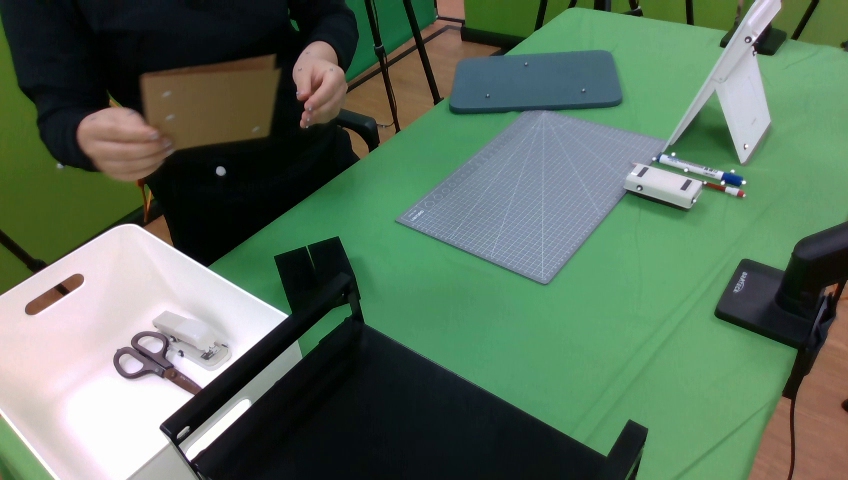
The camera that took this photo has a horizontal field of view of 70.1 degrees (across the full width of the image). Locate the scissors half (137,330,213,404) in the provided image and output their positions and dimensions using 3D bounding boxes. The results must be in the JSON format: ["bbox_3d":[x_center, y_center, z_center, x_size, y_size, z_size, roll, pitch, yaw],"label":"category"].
[{"bbox_3d":[-0.336,0.172,0.822,0.174,0.013,0.040,34,56,32],"label":"scissors half"}]

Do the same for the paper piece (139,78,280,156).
[{"bbox_3d":[-0.233,-0.130,0.669,0.137,0.138,0.008,1,64,-18],"label":"paper piece"}]

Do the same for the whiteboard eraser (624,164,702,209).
[{"bbox_3d":[0.396,-0.087,1.003,0.112,0.042,0.056,22,48,31],"label":"whiteboard eraser"}]

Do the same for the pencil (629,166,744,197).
[{"bbox_3d":[0.447,-0.103,1.038,0.192,0.012,0.012,21,48,29],"label":"pencil"}]

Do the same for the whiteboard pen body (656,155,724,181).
[{"bbox_3d":[0.475,-0.123,1.052,0.139,0.017,0.017,24,50,32],"label":"whiteboard pen body"}]

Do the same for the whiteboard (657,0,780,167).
[{"bbox_3d":[0.571,-0.272,1.038,0.143,0.306,0.218,37,54,17],"label":"whiteboard"}]

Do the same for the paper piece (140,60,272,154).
[{"bbox_3d":[-0.240,-0.146,0.676,0.136,0.135,0.004,-15,68,-24],"label":"paper piece"}]

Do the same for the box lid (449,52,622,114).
[{"bbox_3d":[0.249,-0.358,1.370,0.371,0.015,0.262,-1,40,9],"label":"box lid"}]

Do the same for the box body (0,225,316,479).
[{"bbox_3d":[-0.339,0.162,0.728,0.361,0.161,0.255,23,48,31],"label":"box body"}]

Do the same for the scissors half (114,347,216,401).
[{"bbox_3d":[-0.348,0.185,0.811,0.174,0.013,0.040,14,52,19],"label":"scissors half"}]

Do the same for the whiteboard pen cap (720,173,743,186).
[{"bbox_3d":[0.519,-0.103,1.020,0.033,0.018,0.018,23,49,30],"label":"whiteboard pen cap"}]

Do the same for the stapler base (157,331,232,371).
[{"bbox_3d":[-0.326,0.142,0.849,0.129,0.024,0.041,18,43,32],"label":"stapler base"}]

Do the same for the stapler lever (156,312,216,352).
[{"bbox_3d":[-0.331,0.122,0.835,0.117,0.040,0.027,17,43,33],"label":"stapler lever"}]
